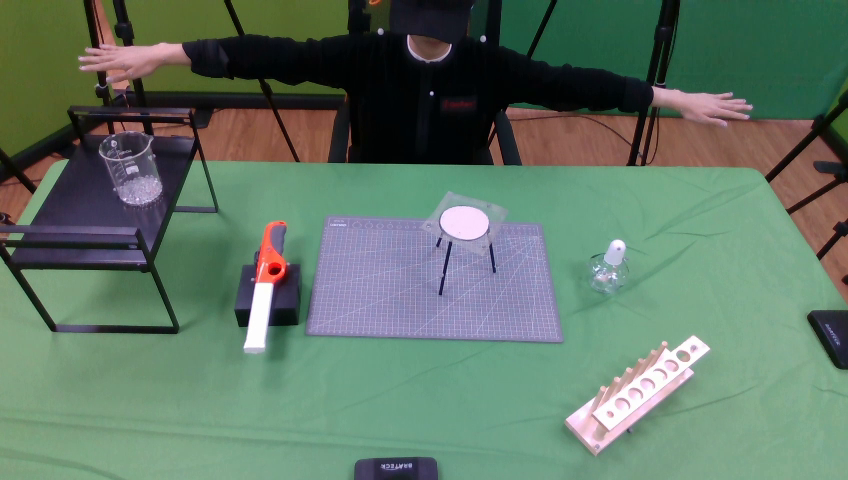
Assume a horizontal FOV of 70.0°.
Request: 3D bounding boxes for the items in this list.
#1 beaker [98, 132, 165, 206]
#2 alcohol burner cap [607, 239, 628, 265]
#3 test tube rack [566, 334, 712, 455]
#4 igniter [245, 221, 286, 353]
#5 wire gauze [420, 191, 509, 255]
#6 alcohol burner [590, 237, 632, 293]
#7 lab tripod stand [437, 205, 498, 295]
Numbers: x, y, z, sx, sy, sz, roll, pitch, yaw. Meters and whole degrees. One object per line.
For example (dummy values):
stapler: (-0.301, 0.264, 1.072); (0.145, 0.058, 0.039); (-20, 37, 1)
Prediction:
beaker: (-0.460, -0.112, 0.968); (0.073, 0.101, 0.084); (37, 54, 28)
alcohol burner cap: (0.351, 0.019, 1.091); (0.034, 0.048, 0.033); (2, 45, -1)
test tube rack: (0.339, 0.228, 0.951); (0.242, 0.085, 0.066); (-26, 52, -26)
igniter: (-0.270, 0.070, 1.040); (0.057, 0.025, 0.274); (2, 48, -6)
wire gauze: (0.072, -0.035, 1.058); (0.125, 0.011, 0.121); (21, 48, 18)
alcohol burner: (0.348, 0.040, 1.114); (0.078, 0.119, 0.077); (3, 44, -2)
lab tripod stand: (0.066, 0.010, 1.107); (0.148, 0.132, 0.147); (0, 46, 0)
